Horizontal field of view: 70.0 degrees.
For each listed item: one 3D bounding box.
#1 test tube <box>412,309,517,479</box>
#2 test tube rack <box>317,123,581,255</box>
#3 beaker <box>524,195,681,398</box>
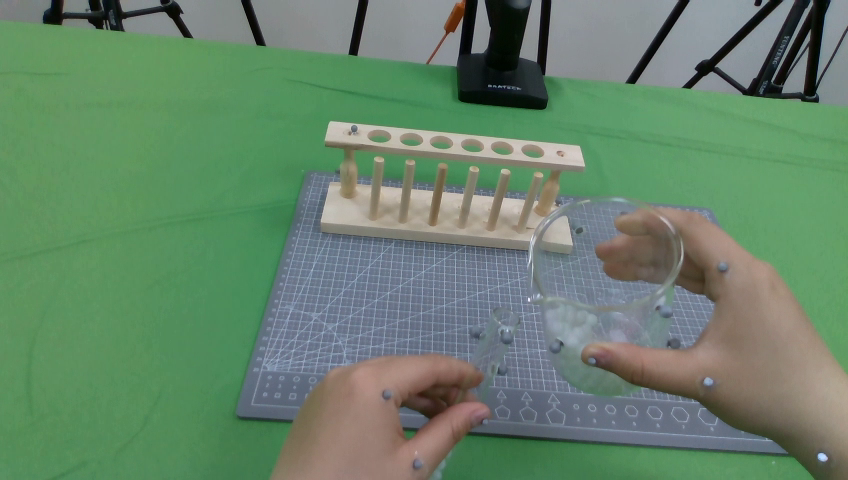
[{"bbox_3d":[0.019,0.100,0.349,0.017,0.151,0.017,15,31,-9],"label":"test tube"},{"bbox_3d":[0.022,-0.048,0.585,0.243,0.086,0.066,5,42,-3],"label":"test tube rack"},{"bbox_3d":[0.096,0.038,0.338,0.084,0.101,0.073,-30,48,-10],"label":"beaker"}]
